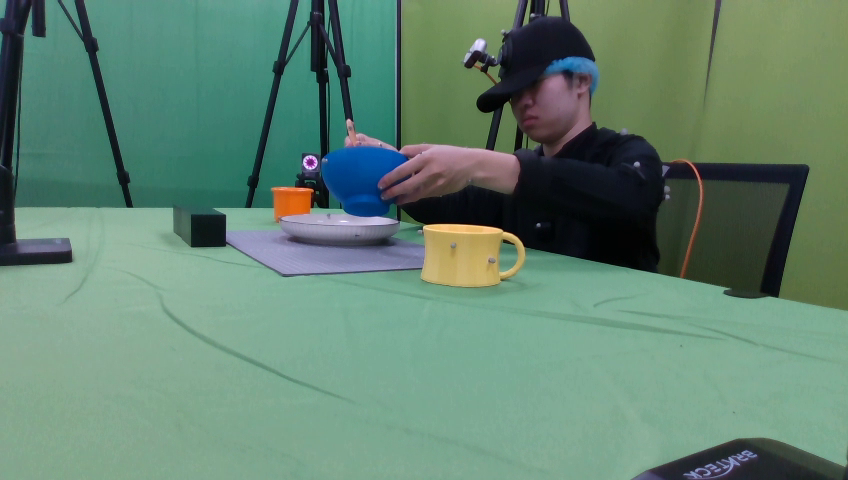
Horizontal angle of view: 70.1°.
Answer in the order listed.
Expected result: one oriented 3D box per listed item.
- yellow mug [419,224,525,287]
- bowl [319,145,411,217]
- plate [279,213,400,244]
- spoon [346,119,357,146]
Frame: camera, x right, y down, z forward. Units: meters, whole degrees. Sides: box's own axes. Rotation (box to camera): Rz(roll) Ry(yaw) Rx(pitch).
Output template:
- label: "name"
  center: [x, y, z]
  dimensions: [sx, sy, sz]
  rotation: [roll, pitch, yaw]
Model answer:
- label: "yellow mug"
  center: [0.060, 0.018, 0.746]
  dimensions: [0.131, 0.064, 0.100]
  rotation: [3, 7, -7]
- label: "bowl"
  center: [-0.095, -0.085, 0.973]
  dimensions: [0.151, 0.076, 0.151]
  rotation: [-1, -17, 0]
- label: "plate"
  center: [-0.147, -0.020, 1.060]
  dimensions: [0.209, 0.038, 0.209]
  rotation: [3, 7, 0]
- label: "spoon"
  center: [-0.109, -0.141, 1.020]
  dimensions: [0.042, 0.021, 0.193]
  rotation: [12, 39, -39]
